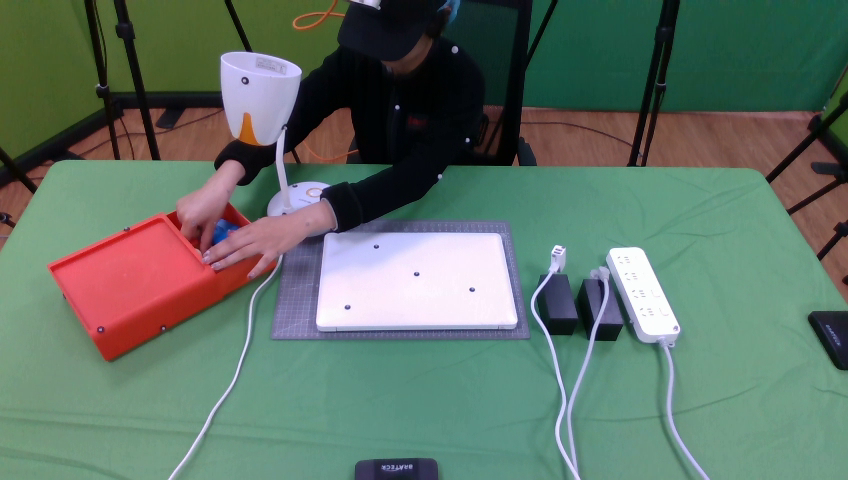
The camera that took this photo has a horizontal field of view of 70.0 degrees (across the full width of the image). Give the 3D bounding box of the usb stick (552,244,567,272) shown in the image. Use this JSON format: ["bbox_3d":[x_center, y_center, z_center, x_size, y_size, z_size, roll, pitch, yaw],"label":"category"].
[{"bbox_3d":[0.251,0.039,1.123,0.021,0.059,0.027,14,47,24],"label":"usb stick"}]

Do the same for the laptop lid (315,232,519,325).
[{"bbox_3d":[-0.015,0.065,1.118,0.357,0.013,0.240,1,43,-3],"label":"laptop lid"}]

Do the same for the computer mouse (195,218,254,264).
[{"bbox_3d":[-0.381,-0.003,1.154,0.116,0.041,0.063,32,53,28],"label":"computer mouse"}]

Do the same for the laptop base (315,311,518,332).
[{"bbox_3d":[-0.016,0.075,1.125,0.355,0.023,0.234,0,42,-4],"label":"laptop base"}]

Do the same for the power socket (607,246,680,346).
[{"bbox_3d":[0.403,0.096,1.123,0.072,0.033,0.225,-2,46,-5],"label":"power socket"}]

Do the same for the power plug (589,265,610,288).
[{"bbox_3d":[0.318,0.073,1.108,0.035,0.053,0.072,26,34,13],"label":"power plug"}]

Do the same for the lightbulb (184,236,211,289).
[{"bbox_3d":[-0.417,0.039,1.101,0.059,0.060,0.107,10,59,6],"label":"lightbulb"}]

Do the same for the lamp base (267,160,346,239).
[{"bbox_3d":[-0.241,-0.110,1.175,0.160,0.181,0.178,11,48,10],"label":"lamp base"}]

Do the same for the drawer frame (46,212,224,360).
[{"bbox_3d":[-0.495,0.071,1.050,0.213,0.083,0.200,-33,56,-30],"label":"drawer frame"}]

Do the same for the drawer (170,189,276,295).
[{"bbox_3d":[-0.414,0.022,1.109,0.212,0.073,0.193,-33,57,-30],"label":"drawer"}]

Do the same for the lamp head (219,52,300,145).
[{"bbox_3d":[-0.244,-0.204,0.889,0.112,0.123,0.112,11,33,-7],"label":"lamp head"}]
